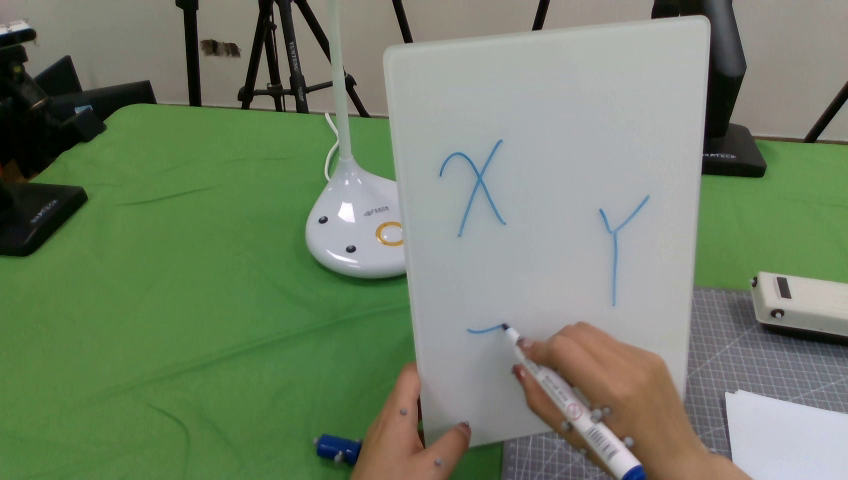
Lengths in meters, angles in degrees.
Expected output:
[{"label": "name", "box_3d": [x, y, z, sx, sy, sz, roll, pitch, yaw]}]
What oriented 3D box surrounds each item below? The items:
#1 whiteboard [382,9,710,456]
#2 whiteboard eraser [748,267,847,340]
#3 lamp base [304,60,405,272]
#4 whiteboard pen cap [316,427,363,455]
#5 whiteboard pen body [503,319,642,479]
[{"label": "whiteboard", "box_3d": [0.084, -0.014, 0.491, 0.217, 0.307, 0.142, -8, 21, -7]}, {"label": "whiteboard eraser", "box_3d": [0.360, 0.060, 0.552, 0.112, 0.042, 0.055, 9, 42, 13]}, {"label": "lamp base", "box_3d": [-0.063, -0.085, 0.634, 0.161, 0.182, 0.177, -27, 44, -28]}, {"label": "whiteboard pen cap", "box_3d": [-0.065, 0.156, 0.469, 0.033, 0.018, 0.018, 6, 40, 11]}, {"label": "whiteboard pen body", "box_3d": [0.089, 0.096, 0.391, 0.017, 0.017, 0.139, -18, 42, -19]}]
